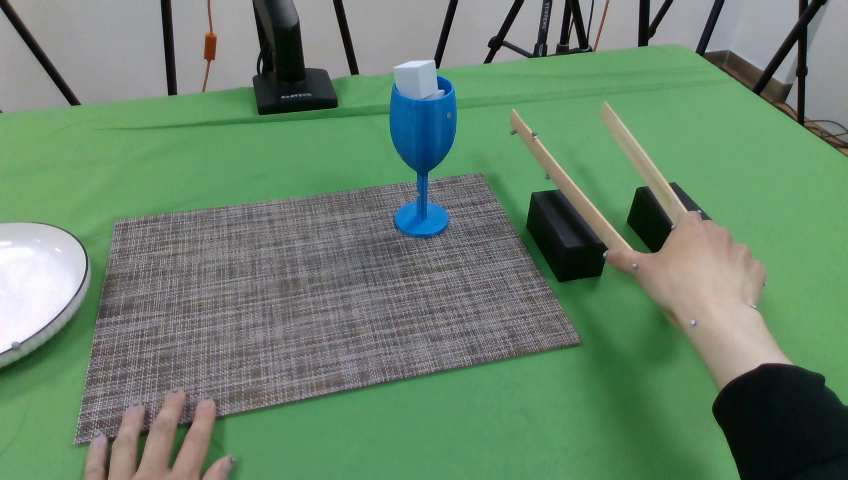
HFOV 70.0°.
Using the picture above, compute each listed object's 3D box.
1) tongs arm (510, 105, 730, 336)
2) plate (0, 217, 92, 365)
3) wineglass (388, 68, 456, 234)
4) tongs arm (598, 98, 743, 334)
[{"bbox_3d":[0.186,-0.045,0.651,0.051,0.027,0.380,-7,42,-15],"label":"tongs arm"},{"bbox_3d":[-0.430,0.055,0.585,0.209,0.038,0.207,1,41,-1],"label":"plate"},{"bbox_3d":[-0.002,-0.093,0.664,0.074,0.174,0.073,1,41,0],"label":"wineglass"},{"bbox_3d":[0.254,-0.053,0.665,0.028,0.028,0.383,2,41,-9],"label":"tongs arm"}]
